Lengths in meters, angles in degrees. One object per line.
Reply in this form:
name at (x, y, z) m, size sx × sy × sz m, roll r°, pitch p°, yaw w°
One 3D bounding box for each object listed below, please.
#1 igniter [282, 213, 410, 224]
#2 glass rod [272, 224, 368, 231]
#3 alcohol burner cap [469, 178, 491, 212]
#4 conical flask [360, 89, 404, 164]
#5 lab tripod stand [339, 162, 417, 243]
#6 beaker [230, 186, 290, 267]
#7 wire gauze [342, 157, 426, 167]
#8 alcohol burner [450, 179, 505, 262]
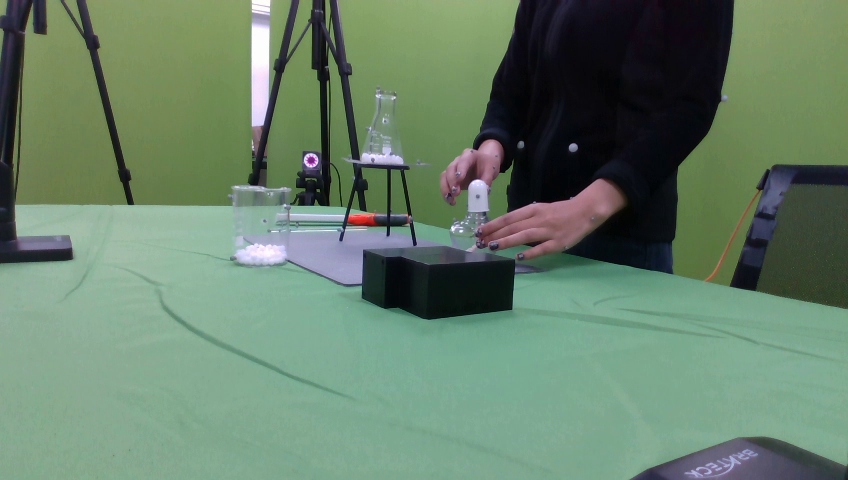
igniter at (-0.159, -0.046, 1.287) m, size 0.278 × 0.025 × 0.057 m, roll -1°, pitch -3°, yaw -21°
glass rod at (-0.197, -0.024, 1.170) m, size 0.201 × 0.008 × 0.008 m, roll -3°, pitch 9°, yaw -34°
alcohol burner cap at (0.078, -0.064, 0.858) m, size 0.034 × 0.048 × 0.034 m, roll -4°, pitch 9°, yaw 1°
conical flask at (-0.067, -0.189, 1.010) m, size 0.075 × 0.122 × 0.075 m, roll 4°, pitch 6°, yaw 0°
lab tripod stand at (-0.067, -0.065, 1.027) m, size 0.148 × 0.131 × 0.148 m, roll 4°, pitch 7°, yaw 0°
beaker at (-0.209, -0.019, 0.778) m, size 0.074 × 0.100 × 0.084 m, roll 3°, pitch 6°, yaw 4°
wire gauze at (-0.065, -0.130, 1.016) m, size 0.122 × 0.011 × 0.124 m, roll 2°, pitch 5°, yaw -27°
alcohol burner at (0.078, -0.028, 0.863) m, size 0.078 × 0.119 × 0.078 m, roll 4°, pitch 7°, yaw 0°
